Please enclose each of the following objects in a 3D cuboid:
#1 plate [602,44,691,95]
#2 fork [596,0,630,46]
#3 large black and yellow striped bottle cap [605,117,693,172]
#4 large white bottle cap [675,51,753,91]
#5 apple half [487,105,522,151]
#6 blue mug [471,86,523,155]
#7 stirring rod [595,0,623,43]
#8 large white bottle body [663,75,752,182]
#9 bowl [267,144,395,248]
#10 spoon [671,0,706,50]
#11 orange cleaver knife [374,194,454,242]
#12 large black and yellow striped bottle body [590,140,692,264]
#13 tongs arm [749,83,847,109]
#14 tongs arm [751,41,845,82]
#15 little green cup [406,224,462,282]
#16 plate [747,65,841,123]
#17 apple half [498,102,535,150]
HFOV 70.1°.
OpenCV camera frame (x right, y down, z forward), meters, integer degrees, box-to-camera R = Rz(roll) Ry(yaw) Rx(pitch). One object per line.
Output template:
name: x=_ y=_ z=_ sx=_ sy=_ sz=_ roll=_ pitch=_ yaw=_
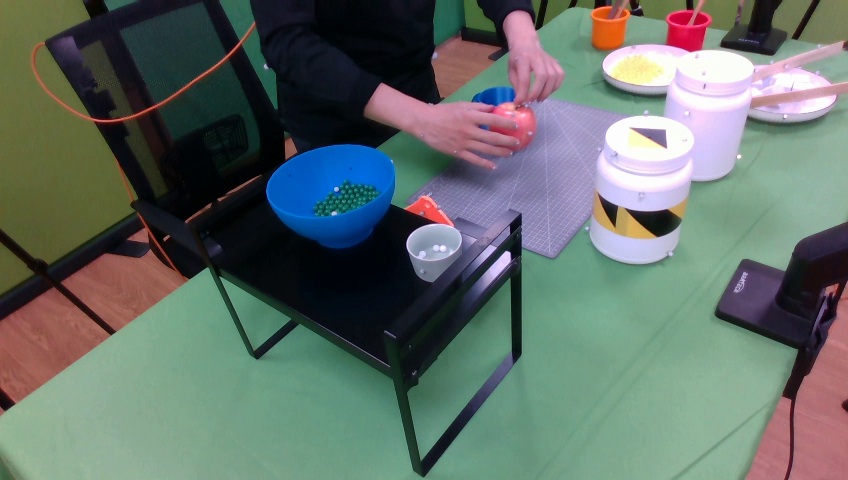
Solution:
plate: x=0.494 y=-0.367 z=1.317 sx=0.209 sy=0.038 sz=0.208 roll=-4 pitch=40 yaw=4
fork: x=0.481 y=-0.556 z=1.452 sx=0.028 sy=0.019 sz=0.207 roll=40 pitch=103 yaw=40
large black and yellow striped bottle cap: x=0.309 y=-0.134 z=0.833 sx=0.115 sy=0.019 sz=0.114 roll=-5 pitch=40 yaw=5
large white bottle cap: x=0.463 y=-0.271 z=0.967 sx=0.115 sy=0.018 sz=0.114 roll=-4 pitch=40 yaw=4
apple half: x=0.128 y=-0.182 z=1.009 sx=0.033 sy=0.081 sz=0.080 roll=-23 pitch=41 yaw=-33
blue mug: x=0.135 y=-0.235 z=1.163 sx=0.082 sy=0.106 sz=0.115 roll=-36 pitch=48 yaw=-29
stirring rod: x=0.460 y=-0.556 z=1.460 sx=0.014 sy=0.006 sz=0.176 roll=30 pitch=93 yaw=23
large white bottle body: x=0.472 y=-0.207 z=1.022 sx=0.130 sy=0.185 sz=0.130 roll=-4 pitch=41 yaw=4
bowl: x=-0.104 y=-0.043 z=0.726 sx=0.151 sy=0.077 sz=0.150 roll=-4 pitch=40 yaw=4
spoon: x=0.629 y=-0.520 z=1.394 sx=0.041 sy=0.022 sz=0.193 roll=30 pitch=97 yaw=34
orange cleaver knife: x=-0.032 y=-0.026 z=0.965 sx=0.210 sy=0.077 sz=0.012 roll=-9 pitch=29 yaw=51
large black and yellow striped bottle body: x=0.317 y=-0.071 z=0.889 sx=0.131 sy=0.185 sz=0.130 roll=-4 pitch=41 yaw=4
tongs arm: x=0.735 y=-0.280 z=1.133 sx=0.388 sy=0.028 sz=0.028 roll=-9 pitch=47 yaw=-5
tongs arm: x=0.708 y=-0.331 z=1.193 sx=0.386 sy=0.026 sz=0.050 roll=-19 pitch=45 yaw=-16
little green cup: x=0.013 y=0.015 z=0.668 sx=0.061 sy=0.039 sz=0.061 roll=-4 pitch=40 yaw=4
plate: x=0.694 y=-0.282 z=1.189 sx=0.207 sy=0.039 sz=0.206 roll=-4 pitch=40 yaw=4
apple half: x=0.158 y=-0.195 z=1.028 sx=0.054 sy=0.075 sz=0.080 roll=-20 pitch=33 yaw=-32
